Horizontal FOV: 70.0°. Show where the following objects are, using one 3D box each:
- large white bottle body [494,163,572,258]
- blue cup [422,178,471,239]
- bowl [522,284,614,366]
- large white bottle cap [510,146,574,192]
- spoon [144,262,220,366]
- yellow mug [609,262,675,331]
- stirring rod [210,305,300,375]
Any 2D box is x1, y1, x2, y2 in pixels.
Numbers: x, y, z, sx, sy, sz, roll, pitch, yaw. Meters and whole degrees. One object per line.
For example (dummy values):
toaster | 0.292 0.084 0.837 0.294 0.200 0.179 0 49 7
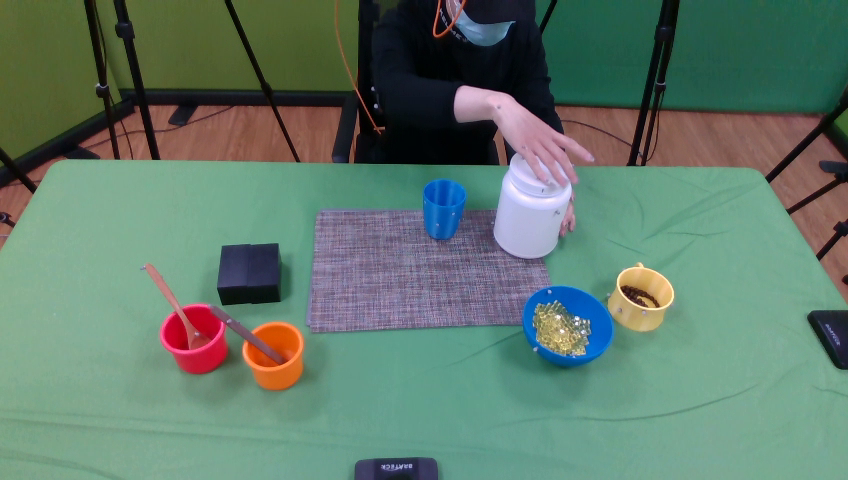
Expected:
large white bottle body | 0.209 -0.070 1.160 0.131 0.185 0.130 2 46 -2
blue cup | 0.035 -0.056 1.192 0.093 0.101 0.092 3 45 -3
bowl | 0.235 0.158 1.022 0.151 0.077 0.150 2 46 -2
large white bottle cap | 0.213 -0.130 1.098 0.115 0.018 0.114 2 46 -2
spoon | -0.389 0.118 0.970 0.041 0.021 0.194 -34 101 -33
yellow mug | 0.393 0.094 1.103 0.100 0.064 0.130 7 45 3
stirring rod | -0.262 0.158 0.946 0.177 0.006 0.014 43 44 -21
